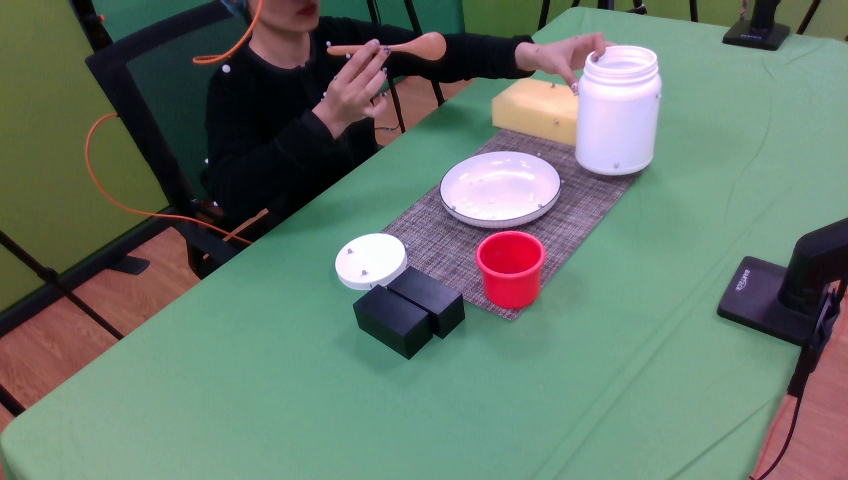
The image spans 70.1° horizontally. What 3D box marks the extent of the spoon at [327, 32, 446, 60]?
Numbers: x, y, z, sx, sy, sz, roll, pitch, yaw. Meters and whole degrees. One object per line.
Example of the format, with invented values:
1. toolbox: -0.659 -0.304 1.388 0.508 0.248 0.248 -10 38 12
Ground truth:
1. spoon: -0.052 -0.289 0.914 0.195 0.042 0.021 -10 23 -19

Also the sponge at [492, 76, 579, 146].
1. sponge: 0.254 -0.259 1.208 0.205 0.061 0.118 22 48 31

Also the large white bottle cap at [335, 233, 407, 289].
1. large white bottle cap: -0.085 0.032 0.961 0.115 0.018 0.114 -6 42 6

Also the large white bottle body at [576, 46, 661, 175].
1. large white bottle body: 0.325 -0.218 1.016 0.130 0.185 0.130 -5 36 4

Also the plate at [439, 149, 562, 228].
1. plate: 0.131 -0.085 1.040 0.209 0.038 0.208 -5 40 5
